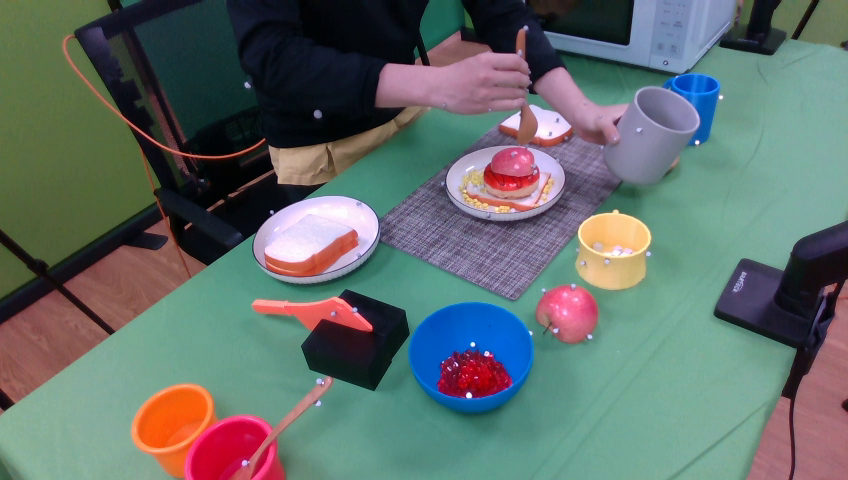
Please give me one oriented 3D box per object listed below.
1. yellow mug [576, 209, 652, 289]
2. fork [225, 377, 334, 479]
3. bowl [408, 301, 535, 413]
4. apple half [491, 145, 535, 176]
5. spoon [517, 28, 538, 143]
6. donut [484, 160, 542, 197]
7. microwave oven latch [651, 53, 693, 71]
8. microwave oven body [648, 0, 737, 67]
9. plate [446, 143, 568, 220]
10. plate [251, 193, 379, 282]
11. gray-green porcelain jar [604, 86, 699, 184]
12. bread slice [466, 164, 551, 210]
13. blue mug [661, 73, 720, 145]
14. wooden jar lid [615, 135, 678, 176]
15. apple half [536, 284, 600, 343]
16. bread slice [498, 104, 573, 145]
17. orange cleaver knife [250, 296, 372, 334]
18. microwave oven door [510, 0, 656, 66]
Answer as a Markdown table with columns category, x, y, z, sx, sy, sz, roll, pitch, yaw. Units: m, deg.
| category | x | y | z | sx | sy | sz | roll | pitch | yaw |
| --- | --- | --- | --- | --- | --- | --- | --- | --- | --- |
| yellow mug | 0.279 | 0.004 | 0.893 | 0.099 | 0.064 | 0.130 | 6 | 42 | 14 |
| fork | -0.163 | 0.216 | 0.646 | 0.207 | 0.019 | 0.028 | -49 | 42 | 16 |
| bowl | 0.060 | 0.156 | 0.739 | 0.151 | 0.077 | 0.150 | -4 | 40 | 4 |
| apple half | 0.147 | -0.138 | 0.994 | 0.081 | 0.033 | 0.081 | 1 | 37 | 0 |
| spoon | 0.144 | -0.215 | 0.869 | 0.042 | 0.195 | 0.021 | -33 | 47 | -16 |
| donut | 0.149 | -0.110 | 1.016 | 0.099 | 0.048 | 0.098 | -4 | 40 | 4 |
| microwave oven latch | 0.532 | -0.386 | 1.301 | 0.078 | 0.029 | 0.030 | 27 | 52 | 34 |
| microwave oven body | 0.475 | -0.602 | 1.411 | 0.438 | 0.261 | 0.327 | 23 | 50 | 32 |
| plate | 0.143 | -0.097 | 1.045 | 0.207 | 0.039 | 0.206 | -4 | 40 | 4 |
| plate | -0.174 | -0.001 | 0.984 | 0.209 | 0.038 | 0.208 | -4 | 40 | 4 |
| gray-green porcelain jar | 0.352 | -0.159 | 0.954 | 0.106 | 0.126 | 0.105 | 8 | 51 | -9 |
| bread slice | 0.141 | -0.093 | 1.042 | 0.133 | 0.018 | 0.107 | 10 | 43 | 19 |
| blue mug | 0.483 | -0.250 | 1.127 | 0.082 | 0.106 | 0.115 | -25 | 44 | -19 |
| wooden jar lid | 0.398 | -0.151 | 1.086 | 0.108 | 0.021 | 0.108 | -2 | 42 | 2 |
| apple half | 0.196 | 0.091 | 0.815 | 0.075 | 0.053 | 0.080 | -22 | 42 | -20 |
| bread slice | 0.231 | -0.231 | 1.205 | 0.105 | 0.019 | 0.130 | -36 | 47 | -28 |
| orange cleaver knife | -0.158 | 0.103 | 0.828 | 0.210 | 0.078 | 0.012 | -4 | 43 | 39 |
| microwave oven door | 0.350 | -0.539 | 1.348 | 0.353 | 0.245 | 0.039 | 24 | 50 | 31 |
